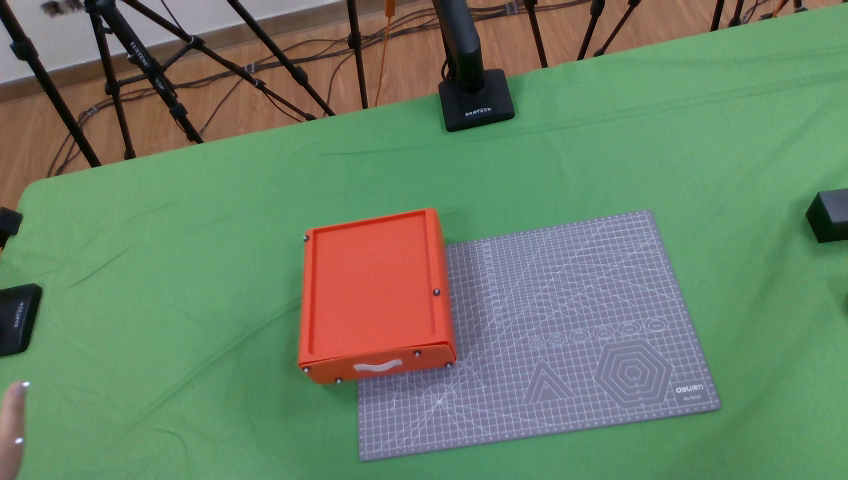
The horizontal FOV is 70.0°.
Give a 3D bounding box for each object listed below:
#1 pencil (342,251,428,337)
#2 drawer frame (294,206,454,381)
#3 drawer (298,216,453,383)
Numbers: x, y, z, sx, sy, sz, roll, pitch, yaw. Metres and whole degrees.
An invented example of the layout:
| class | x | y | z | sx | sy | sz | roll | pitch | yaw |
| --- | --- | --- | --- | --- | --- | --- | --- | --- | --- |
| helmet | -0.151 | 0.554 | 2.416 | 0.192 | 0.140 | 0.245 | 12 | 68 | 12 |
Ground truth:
| class | x | y | z | sx | sy | sz | roll | pitch | yaw |
| --- | --- | --- | --- | --- | --- | --- | --- | --- | --- |
| pencil | -0.058 | 0.076 | 0.874 | 0.012 | 0.012 | 0.192 | -41 | 62 | -13 |
| drawer frame | -0.071 | 0.075 | 0.846 | 0.201 | 0.083 | 0.211 | -11 | 56 | 7 |
| drawer | -0.069 | 0.080 | 0.843 | 0.194 | 0.074 | 0.209 | -10 | 56 | 7 |
